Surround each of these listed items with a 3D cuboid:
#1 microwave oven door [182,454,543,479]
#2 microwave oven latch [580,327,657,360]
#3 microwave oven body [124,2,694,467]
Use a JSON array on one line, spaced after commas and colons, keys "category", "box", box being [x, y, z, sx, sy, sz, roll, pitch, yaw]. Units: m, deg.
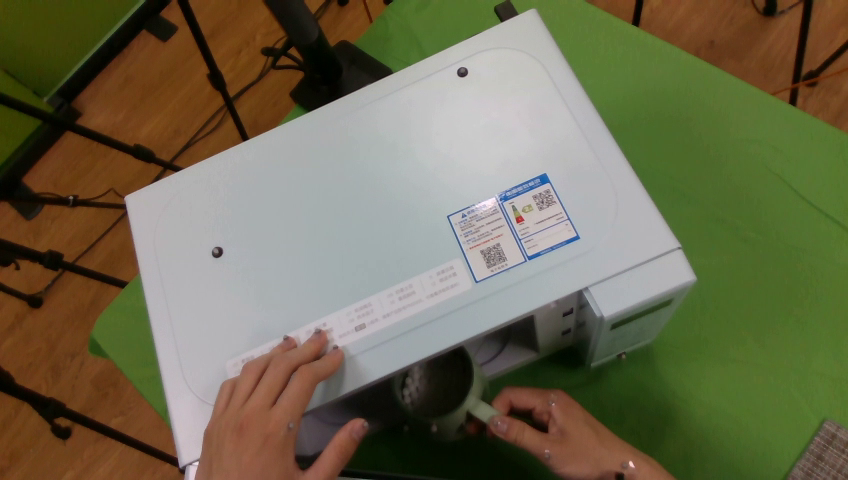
[{"category": "microwave oven door", "box": [0.002, 0.230, 0.552, 0.355, 0.246, 0.039, 1, 71, 12]}, {"category": "microwave oven latch", "box": [0.214, 0.105, 0.667, 0.079, 0.030, 0.030, -23, 67, 3]}, {"category": "microwave oven body", "box": [-0.021, 0.020, 0.642, 0.442, 0.262, 0.323, -25, 67, 3]}]
